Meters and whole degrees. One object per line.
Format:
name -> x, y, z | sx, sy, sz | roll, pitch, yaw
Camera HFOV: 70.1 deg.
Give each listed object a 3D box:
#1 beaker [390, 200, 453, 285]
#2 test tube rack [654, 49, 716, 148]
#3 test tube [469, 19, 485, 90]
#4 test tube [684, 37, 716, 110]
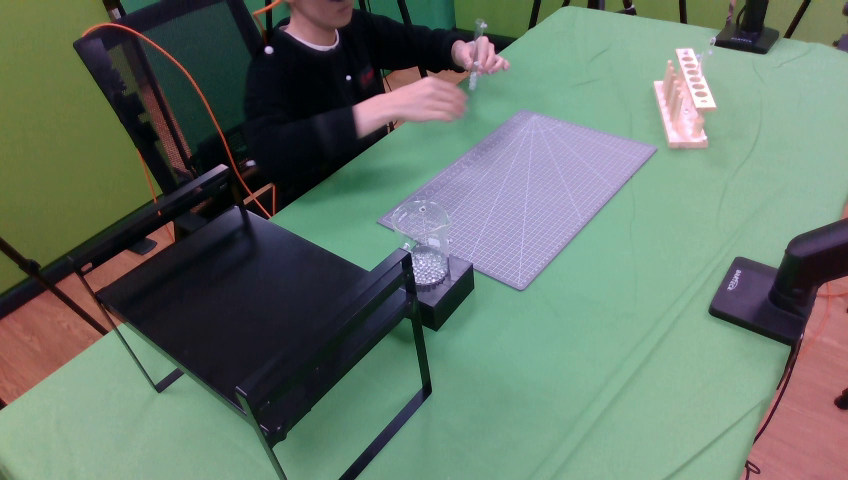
beaker -> 0.002, 0.006, 0.831 | 0.084, 0.101, 0.074 | 5, 42, 13
test tube rack -> 0.502, -0.281, 1.176 | 0.066, 0.085, 0.241 | 2, 41, 11
test tube -> 0.100, -0.348, 1.148 | 0.017, 0.151, 0.017 | 1, 51, -1
test tube -> 0.513, -0.306, 1.126 | 0.017, 0.151, 0.017 | -1, 48, 1
